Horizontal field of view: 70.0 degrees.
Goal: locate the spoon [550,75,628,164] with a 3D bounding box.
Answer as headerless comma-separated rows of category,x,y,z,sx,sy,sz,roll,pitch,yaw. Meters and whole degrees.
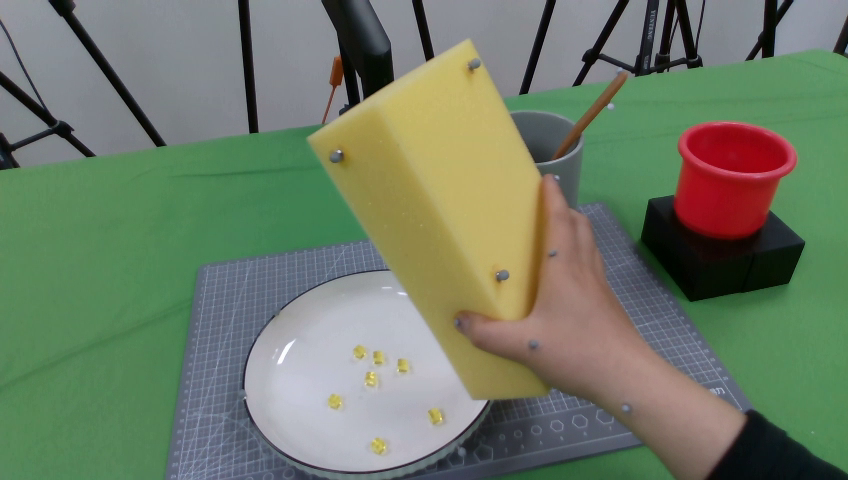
spoon,0.130,-0.074,0.577,0.022,0.194,0.041,23,33,-10

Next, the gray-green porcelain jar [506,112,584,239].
gray-green porcelain jar,0.101,-0.047,0.605,0.106,0.127,0.105,-3,39,3

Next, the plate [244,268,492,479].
plate,-0.040,0.105,0.501,0.207,0.039,0.205,-2,39,2

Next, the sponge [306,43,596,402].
sponge,0.030,-0.009,0.401,0.060,0.208,0.118,-16,24,39
